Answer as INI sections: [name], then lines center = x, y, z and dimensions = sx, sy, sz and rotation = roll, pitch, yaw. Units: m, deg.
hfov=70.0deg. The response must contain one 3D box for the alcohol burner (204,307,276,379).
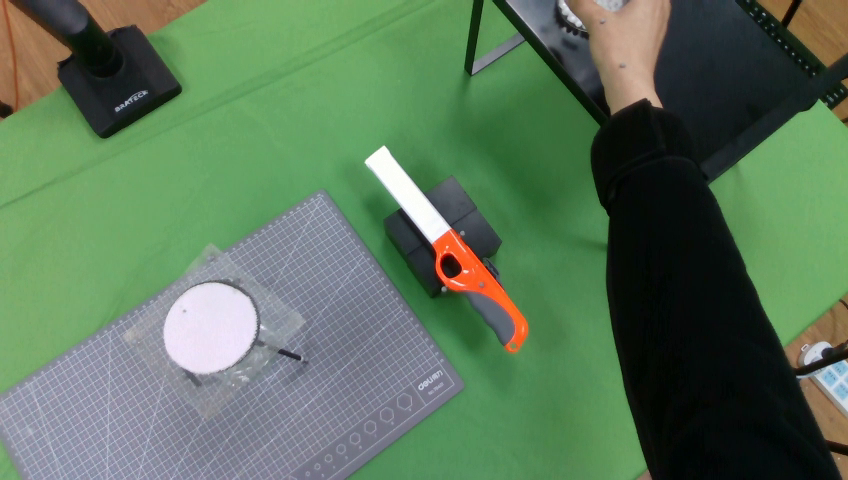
[alcohol burner]
center = -0.200, 0.108, 0.645
dimensions = 0.078, 0.119, 0.077
rotation = 1, 76, -2

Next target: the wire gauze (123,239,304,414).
[wire gauze]
center = -0.200, 0.079, 0.573
dimensions = 0.121, 0.011, 0.125
rotation = 40, 78, 9

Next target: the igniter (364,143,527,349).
[igniter]
center = 0.025, 0.003, 0.680
dimensions = 0.057, 0.025, 0.275
rotation = -38, 79, 0

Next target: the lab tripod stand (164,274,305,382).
[lab tripod stand]
center = -0.206, 0.092, 0.639
dimensions = 0.148, 0.132, 0.147
rotation = 0, 74, 0

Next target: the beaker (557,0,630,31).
[beaker]
center = 0.170, -0.258, 0.579
dimensions = 0.084, 0.101, 0.073
rotation = 19, 74, 4
